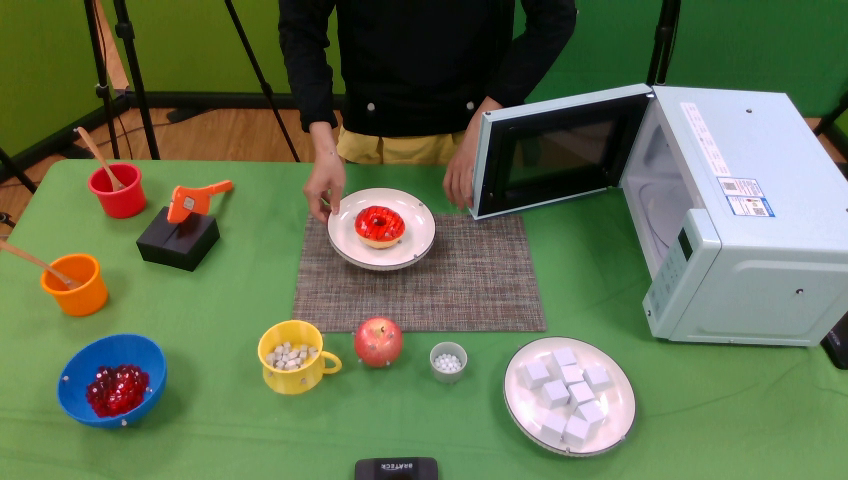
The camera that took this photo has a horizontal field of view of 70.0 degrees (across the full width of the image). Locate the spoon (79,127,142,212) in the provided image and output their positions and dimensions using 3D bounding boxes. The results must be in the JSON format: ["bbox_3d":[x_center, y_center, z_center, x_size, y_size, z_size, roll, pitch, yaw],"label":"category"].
[{"bbox_3d":[-0.624,-0.140,1.203,0.041,0.021,0.194,-33,100,-26],"label":"spoon"}]

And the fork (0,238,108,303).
[{"bbox_3d":[-0.633,0.048,1.017,0.208,0.018,0.028,40,41,-27],"label":"fork"}]

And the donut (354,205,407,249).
[{"bbox_3d":[-0.082,-0.026,1.146,0.099,0.048,0.098,3,46,-3],"label":"donut"}]

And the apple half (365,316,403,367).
[{"bbox_3d":[-0.063,0.165,1.000,0.053,0.075,0.080,-16,45,-24],"label":"apple half"}]

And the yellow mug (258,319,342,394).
[{"bbox_3d":[-0.196,0.189,0.972,0.131,0.064,0.099,9,46,4],"label":"yellow mug"}]

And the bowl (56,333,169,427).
[{"bbox_3d":[-0.456,0.223,0.911,0.151,0.077,0.150,3,45,-2],"label":"bowl"}]

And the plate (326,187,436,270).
[{"bbox_3d":[-0.081,-0.018,1.154,0.209,0.038,0.208,4,47,-4],"label":"plate"}]

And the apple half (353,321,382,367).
[{"bbox_3d":[-0.098,0.177,0.984,0.033,0.081,0.081,-17,49,-25],"label":"apple half"}]

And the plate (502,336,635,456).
[{"bbox_3d":[0.225,0.248,0.963,0.208,0.039,0.206,2,46,-2],"label":"plate"}]

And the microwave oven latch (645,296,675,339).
[{"bbox_3d":[0.412,0.134,1.061,0.030,0.029,0.078,3,45,0],"label":"microwave oven latch"}]

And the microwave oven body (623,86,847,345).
[{"bbox_3d":[0.567,-0.053,1.118,0.326,0.261,0.439,2,45,-1],"label":"microwave oven body"}]

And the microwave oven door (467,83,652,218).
[{"bbox_3d":[0.267,-0.178,1.212,0.356,0.245,0.039,-13,49,-16],"label":"microwave oven door"}]

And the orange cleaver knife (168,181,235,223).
[{"bbox_3d":[-0.436,-0.078,1.196,0.012,0.077,0.211,16,15,10],"label":"orange cleaver knife"}]

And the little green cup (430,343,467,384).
[{"bbox_3d":[0.039,0.203,0.994,0.061,0.039,0.061,2,46,-2],"label":"little green cup"}]
